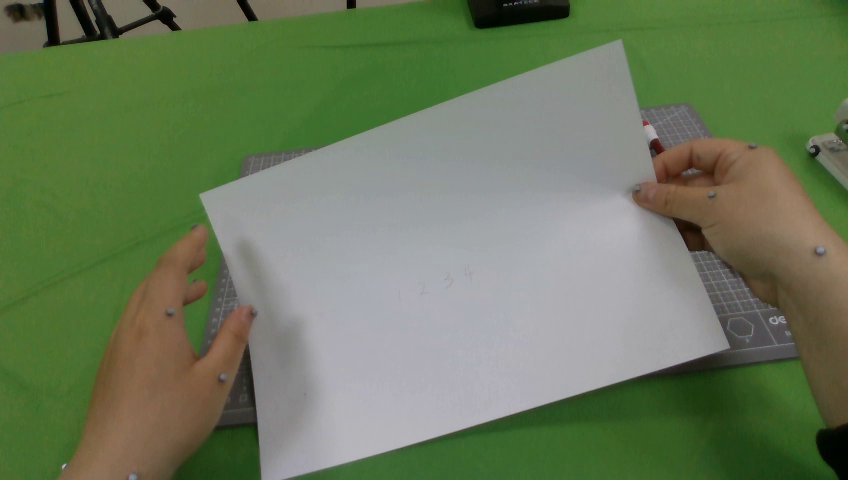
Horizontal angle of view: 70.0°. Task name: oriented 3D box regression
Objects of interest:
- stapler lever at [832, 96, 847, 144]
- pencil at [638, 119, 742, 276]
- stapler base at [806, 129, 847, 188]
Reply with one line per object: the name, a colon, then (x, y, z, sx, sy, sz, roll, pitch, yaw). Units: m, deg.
stapler lever: (0.372, -0.073, 0.483, 0.027, 0.040, 0.116, -12, 48, -1)
pencil: (0.222, -0.043, 0.513, 0.012, 0.012, 0.192, -10, 48, -2)
stapler base: (0.373, -0.057, 0.503, 0.041, 0.025, 0.129, -12, 48, -1)
